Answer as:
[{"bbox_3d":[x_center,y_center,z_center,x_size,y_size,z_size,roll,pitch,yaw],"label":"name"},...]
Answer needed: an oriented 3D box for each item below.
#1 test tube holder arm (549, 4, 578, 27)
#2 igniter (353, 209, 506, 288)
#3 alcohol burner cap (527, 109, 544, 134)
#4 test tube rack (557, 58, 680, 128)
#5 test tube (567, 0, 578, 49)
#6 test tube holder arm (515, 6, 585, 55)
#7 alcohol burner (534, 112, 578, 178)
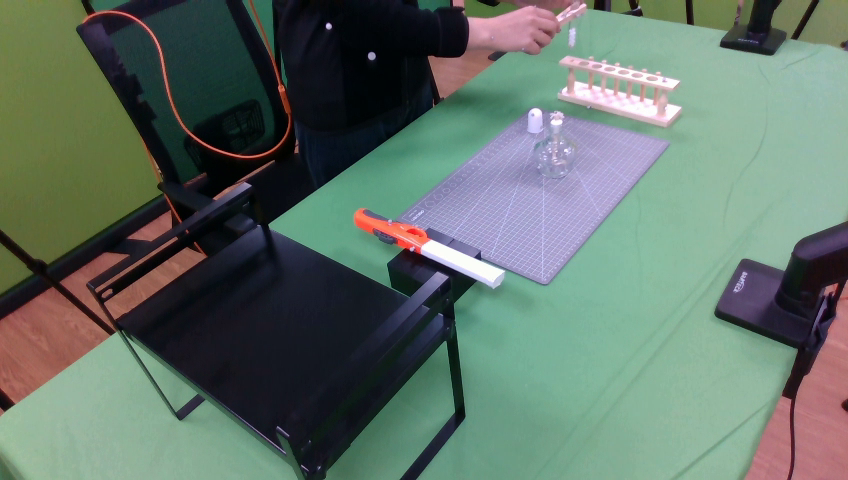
[{"bbox_3d":[0.266,-0.423,1.153,0.010,0.015,0.088,28,60,32],"label":"test tube holder arm"},{"bbox_3d":[-0.003,0.006,0.892,0.274,0.025,0.057,24,37,31],"label":"igniter"},{"bbox_3d":[0.222,-0.238,1.203,0.034,0.048,0.033,-6,41,5],"label":"alcohol burner cap"},{"bbox_3d":[0.395,-0.309,1.230,0.240,0.085,0.067,25,50,33],"label":"test tube rack"},{"bbox_3d":[0.286,-0.434,1.160,0.017,0.151,0.017,-4,51,5],"label":"test tube"},{"bbox_3d":[0.237,-0.394,1.133,0.179,0.015,0.013,-37,51,-20],"label":"test tube holder arm"},{"bbox_3d":[0.232,-0.170,1.065,0.078,0.119,0.077,-5,39,5],"label":"alcohol burner"}]
